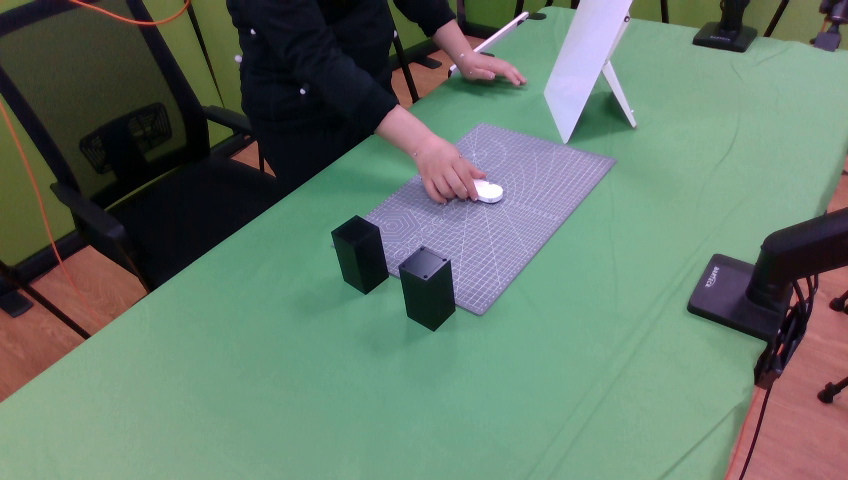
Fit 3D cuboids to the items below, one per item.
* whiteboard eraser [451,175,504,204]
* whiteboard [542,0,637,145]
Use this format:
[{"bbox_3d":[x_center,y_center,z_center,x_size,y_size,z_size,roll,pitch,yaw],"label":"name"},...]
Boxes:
[{"bbox_3d":[0.093,-0.089,1.059,0.100,0.019,0.041,22,49,31],"label":"whiteboard eraser"},{"bbox_3d":[0.365,-0.351,1.160,0.144,0.305,0.216,9,39,-10],"label":"whiteboard"}]
